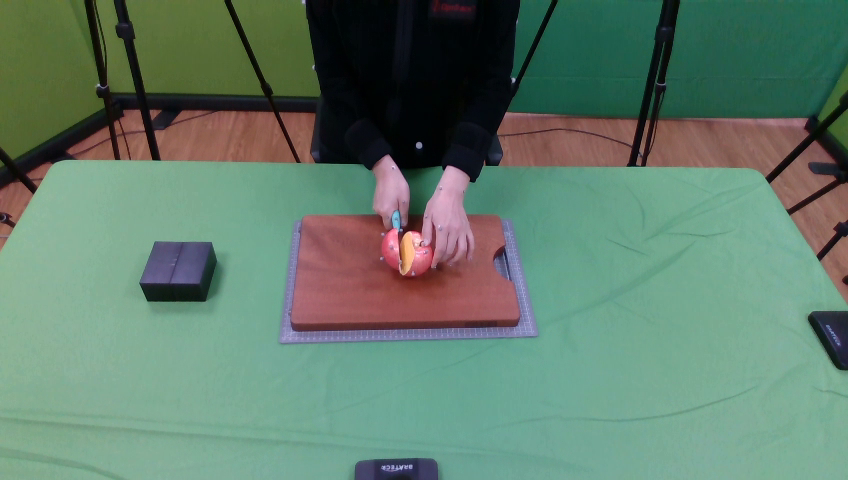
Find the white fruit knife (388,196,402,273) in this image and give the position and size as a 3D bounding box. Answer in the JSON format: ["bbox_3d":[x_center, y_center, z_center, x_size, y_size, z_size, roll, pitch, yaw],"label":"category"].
[{"bbox_3d":[-0.052,-0.015,1.136,0.016,0.027,0.206,-8,45,-2],"label":"white fruit knife"}]

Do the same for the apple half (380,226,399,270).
[{"bbox_3d":[-0.063,0.018,1.100,0.033,0.081,0.081,-3,47,-5],"label":"apple half"}]

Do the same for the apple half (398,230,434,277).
[{"bbox_3d":[-0.013,0.028,1.095,0.053,0.075,0.080,9,45,-24],"label":"apple half"}]
